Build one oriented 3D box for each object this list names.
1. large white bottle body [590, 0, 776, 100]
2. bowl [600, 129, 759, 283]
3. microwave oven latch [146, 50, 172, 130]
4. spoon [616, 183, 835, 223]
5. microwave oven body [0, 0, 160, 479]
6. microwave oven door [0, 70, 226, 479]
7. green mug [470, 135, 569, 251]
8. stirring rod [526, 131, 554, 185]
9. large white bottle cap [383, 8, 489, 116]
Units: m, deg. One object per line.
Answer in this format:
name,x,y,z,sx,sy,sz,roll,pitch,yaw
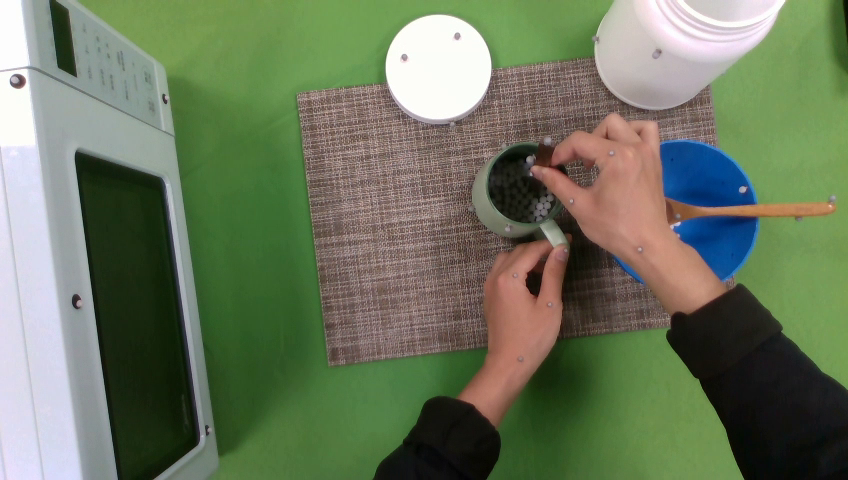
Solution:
large white bottle body,0.241,-0.221,0.570,0.130,0.185,0.130,0,85,1
bowl,0.248,-0.032,0.622,0.151,0.077,0.151,0,89,1
microwave oven latch,-0.286,-0.154,0.630,0.030,0.029,0.079,-9,90,0
spoon,0.290,-0.038,0.594,0.193,0.022,0.041,0,93,24
microwave oven body,-0.407,0.041,0.533,0.326,0.260,0.441,-9,90,0
microwave oven door,-0.256,0.061,0.528,0.039,0.244,0.355,-9,89,1
green mug,0.104,-0.043,0.610,0.092,0.105,0.125,-35,89,0
stirring rod,0.105,-0.072,0.559,0.014,0.176,0.006,18,86,8
large white bottle cap,0.013,-0.192,0.653,0.115,0.018,0.114,0,88,0
